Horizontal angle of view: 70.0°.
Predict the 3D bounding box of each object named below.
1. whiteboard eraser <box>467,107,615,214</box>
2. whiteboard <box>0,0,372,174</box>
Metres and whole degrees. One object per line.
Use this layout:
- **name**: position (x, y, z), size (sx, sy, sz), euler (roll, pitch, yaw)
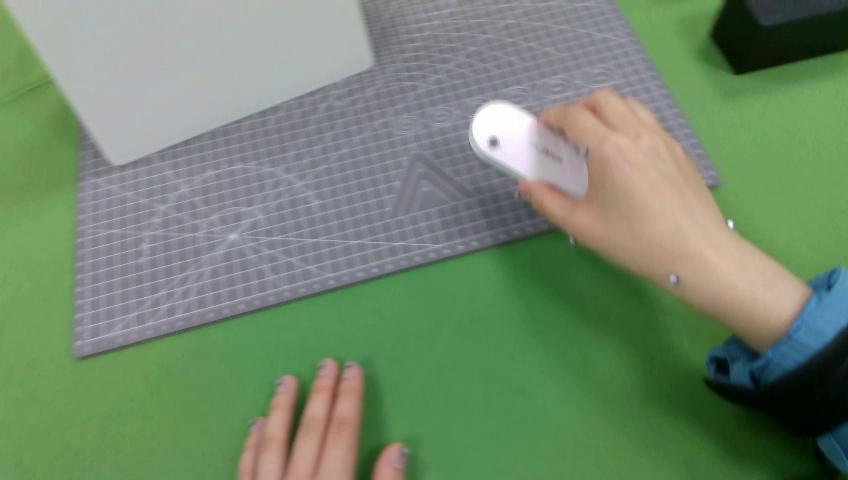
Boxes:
- **whiteboard eraser**: position (0.077, -0.052, 0.396), size (0.101, 0.019, 0.041), euler (29, 72, 0)
- **whiteboard**: position (-0.194, -0.242, 0.421), size (0.217, 0.308, 0.142), euler (-24, 43, -9)
